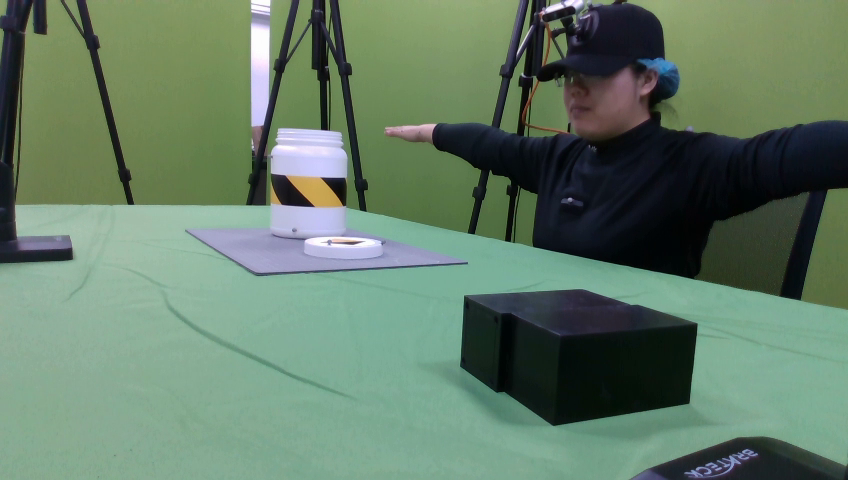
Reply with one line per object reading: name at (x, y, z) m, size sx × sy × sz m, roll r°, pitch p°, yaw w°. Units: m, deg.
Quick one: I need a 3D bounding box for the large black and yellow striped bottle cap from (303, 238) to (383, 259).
large black and yellow striped bottle cap at (-0.117, 0.011, 0.880) m, size 0.115 × 0.019 × 0.115 m, roll 2°, pitch 6°, yaw 0°

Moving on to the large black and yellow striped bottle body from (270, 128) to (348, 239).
large black and yellow striped bottle body at (-0.200, -0.099, 1.053) m, size 0.131 × 0.184 × 0.130 m, roll 3°, pitch 8°, yaw 0°
